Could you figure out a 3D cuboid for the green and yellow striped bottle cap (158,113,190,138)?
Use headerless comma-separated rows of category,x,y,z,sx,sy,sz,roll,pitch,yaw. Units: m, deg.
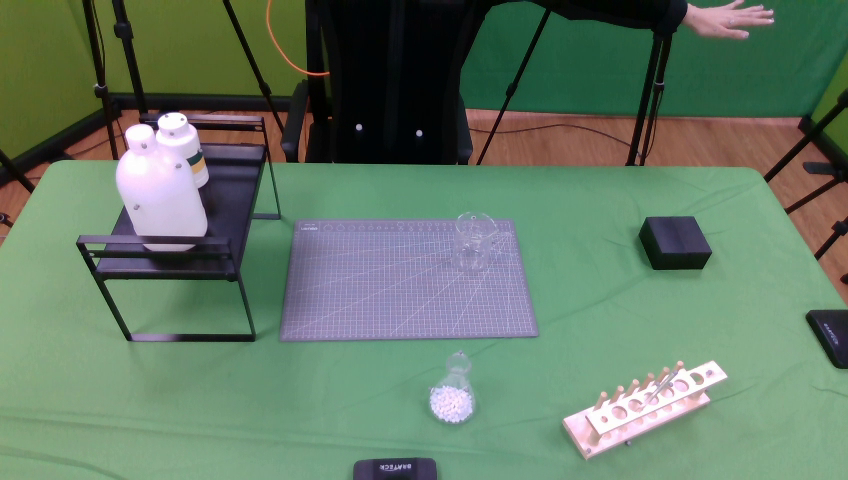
green and yellow striped bottle cap,-0.393,-0.180,0.951,0.045,0.020,0.045,2,44,-2

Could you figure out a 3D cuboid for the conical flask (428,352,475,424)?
conical flask,0.046,0.220,0.920,0.075,0.122,0.075,2,46,-2

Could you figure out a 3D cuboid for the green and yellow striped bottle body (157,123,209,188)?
green and yellow striped bottle body,-0.395,-0.145,0.989,0.063,0.120,0.063,2,46,-2

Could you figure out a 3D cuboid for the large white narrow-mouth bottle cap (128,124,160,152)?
large white narrow-mouth bottle cap,-0.375,-0.137,0.811,0.038,0.024,0.037,3,46,-3

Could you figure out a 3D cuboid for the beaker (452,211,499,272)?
beaker,0.093,0.006,1.141,0.084,0.101,0.073,8,46,3

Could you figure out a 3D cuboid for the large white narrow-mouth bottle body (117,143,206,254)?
large white narrow-mouth bottle body,-0.383,-0.076,0.874,0.102,0.195,0.101,3,46,-3

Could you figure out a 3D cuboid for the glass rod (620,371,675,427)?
glass rod,0.316,0.230,0.863,0.008,0.200,0.008,3,54,-3

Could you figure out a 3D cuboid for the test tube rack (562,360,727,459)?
test tube rack,0.341,0.247,0.940,0.243,0.085,0.066,-16,49,-18
